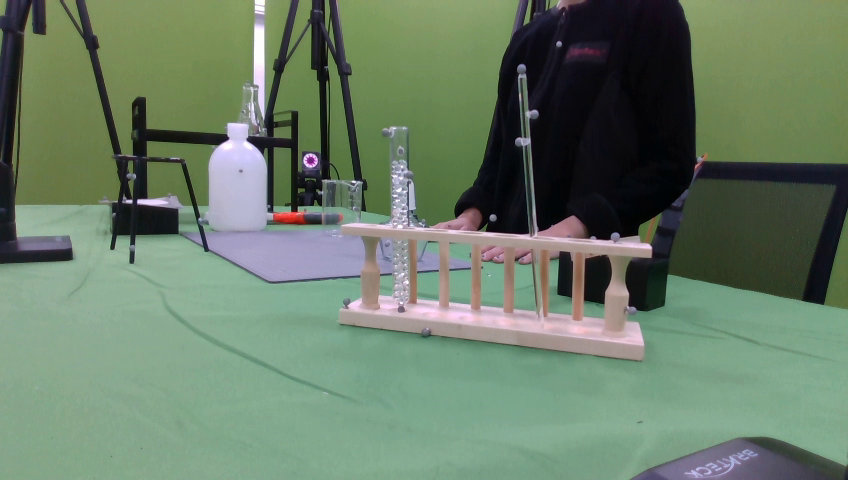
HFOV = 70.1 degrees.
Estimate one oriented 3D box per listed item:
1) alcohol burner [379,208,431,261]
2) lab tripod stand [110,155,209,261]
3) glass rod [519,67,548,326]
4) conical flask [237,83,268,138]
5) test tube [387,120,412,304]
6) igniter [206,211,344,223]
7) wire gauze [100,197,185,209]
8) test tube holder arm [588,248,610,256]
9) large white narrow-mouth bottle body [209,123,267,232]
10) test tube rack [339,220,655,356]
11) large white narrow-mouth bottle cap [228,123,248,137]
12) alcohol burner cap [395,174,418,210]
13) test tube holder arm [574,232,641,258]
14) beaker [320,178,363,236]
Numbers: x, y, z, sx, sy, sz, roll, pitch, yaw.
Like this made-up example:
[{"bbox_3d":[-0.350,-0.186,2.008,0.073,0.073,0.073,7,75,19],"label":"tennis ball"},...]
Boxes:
[{"bbox_3d":[-0.027,-0.031,0.838,0.078,0.119,0.078,0,6,0],"label":"alcohol burner"},{"bbox_3d":[-0.361,-0.046,0.806,0.148,0.131,0.148,2,5,0],"label":"lab tripod stand"},{"bbox_3d":[0.084,-0.029,0.459,0.008,0.199,0.008,-7,11,2],"label":"glass rod"},{"bbox_3d":[-0.401,-0.299,1.406,0.075,0.122,0.075,2,7,0],"label":"conical flask"},{"bbox_3d":[-0.019,-0.021,0.488,0.017,0.150,0.017,-1,13,1],"label":"test tube"},{"bbox_3d":[-0.302,-0.048,1.250,0.278,0.025,0.057,-2,-2,-26],"label":"igniter"},{"bbox_3d":[-0.469,-0.062,1.008,0.126,0.011,0.121,-2,8,-25],"label":"wire gauze"},{"bbox_3d":[0.180,0.006,0.611,0.010,0.015,0.088,-3,2,36],"label":"test tube holder arm"},{"bbox_3d":[-0.340,-0.115,1.109,0.102,0.194,0.102,2,8,0],"label":"large white narrow-mouth bottle body"},{"bbox_3d":[0.056,0.032,0.495,0.242,0.085,0.067,4,7,15],"label":"test tube rack"},{"bbox_3d":[-0.338,-0.199,1.097,0.038,0.024,0.037,2,8,0],"label":"large white narrow-mouth bottle cap"},{"bbox_3d":[-0.026,-0.067,0.834,0.034,0.048,0.034,-1,12,1],"label":"alcohol burner cap"},{"bbox_3d":[0.202,0.003,0.651,0.013,0.015,0.179,-3,2,36],"label":"test tube holder arm"},{"bbox_3d":[-0.145,-0.059,1.079,0.074,0.100,0.083,-4,10,-36],"label":"beaker"}]
